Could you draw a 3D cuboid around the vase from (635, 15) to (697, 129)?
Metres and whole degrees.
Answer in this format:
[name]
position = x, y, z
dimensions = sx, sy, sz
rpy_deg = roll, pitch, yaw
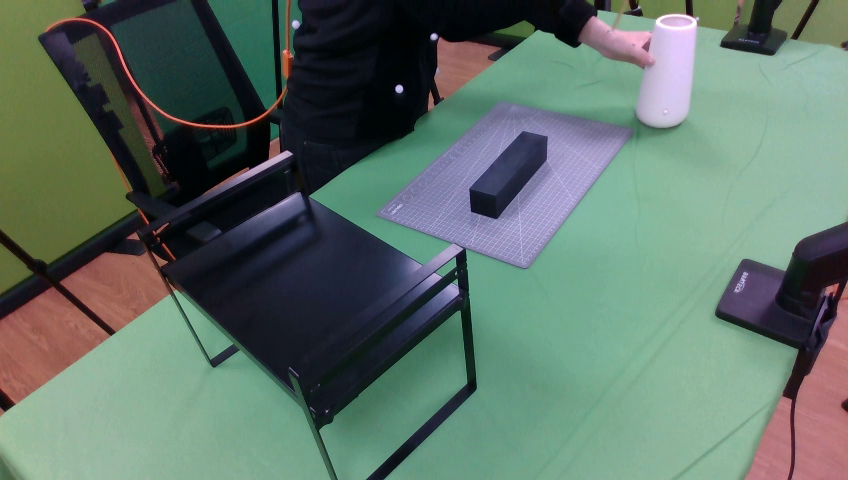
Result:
[vase]
position = 0.456, -0.310, 1.133
dimensions = 0.098, 0.201, 0.097
rpy_deg = -4, 42, 4

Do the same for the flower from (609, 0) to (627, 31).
[flower]
position = 0.341, -0.452, 0.878
dimensions = 0.044, 0.362, 0.038
rpy_deg = 13, 58, -1
